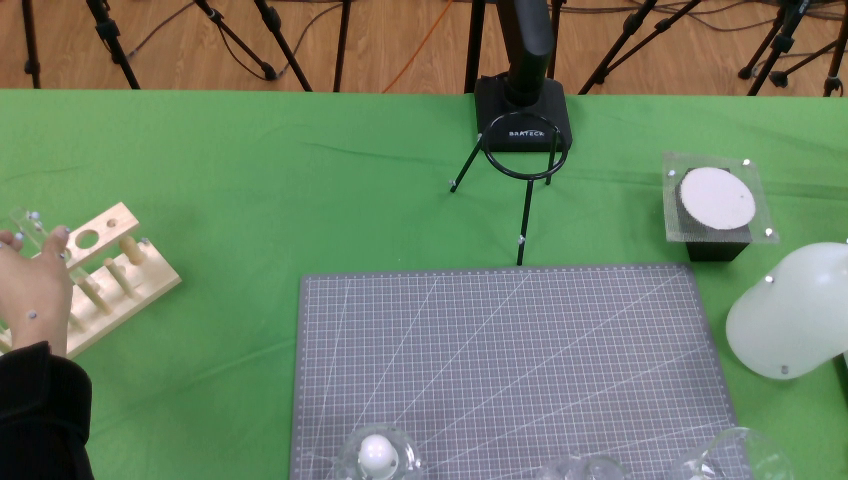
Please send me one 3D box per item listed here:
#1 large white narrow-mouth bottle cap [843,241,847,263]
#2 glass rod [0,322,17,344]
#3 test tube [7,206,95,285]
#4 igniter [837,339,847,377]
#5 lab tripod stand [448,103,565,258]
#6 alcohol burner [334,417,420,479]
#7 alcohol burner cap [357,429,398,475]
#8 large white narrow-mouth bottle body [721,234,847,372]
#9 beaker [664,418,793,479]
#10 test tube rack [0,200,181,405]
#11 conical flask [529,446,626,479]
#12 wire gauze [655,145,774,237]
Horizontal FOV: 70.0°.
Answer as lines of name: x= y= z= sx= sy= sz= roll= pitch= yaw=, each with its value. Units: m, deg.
large white narrow-mouth bottle cap: x=0.380 y=0.009 z=0.515 sx=0.038 sy=0.024 sz=0.037 roll=1 pitch=60 yaw=-2
glass rod: x=-0.408 y=0.045 z=0.540 sx=0.008 sy=0.201 sz=0.008 roll=3 pitch=52 yaw=-4
test tube: x=-0.352 y=0.012 z=0.580 sx=0.017 sy=0.151 sz=0.017 roll=2 pitch=62 yaw=-3
igniter: x=0.460 y=0.195 z=0.610 sx=0.057 sy=0.025 sz=0.274 roll=8 pitch=60 yaw=-10
lab tripod stand: x=0.101 y=-0.073 z=0.680 sx=0.148 sy=0.132 sz=0.147 roll=2 pitch=61 yaw=-3
alcohol burner: x=-0.041 y=0.191 z=0.533 sx=0.078 sy=0.120 sz=0.077 roll=2 pitch=59 yaw=-4
alcohol burner cap: x=-0.040 y=0.174 z=0.501 sx=0.034 sy=0.048 sz=0.033 roll=-1 pitch=60 yaw=3
large white narrow-mouth bottle body: x=0.377 y=0.053 z=0.589 sx=0.102 sy=0.196 sz=0.101 roll=1 pitch=60 yaw=-2
beaker: x=0.265 y=0.210 z=0.546 sx=0.084 sy=0.101 sz=0.073 roll=3 pitch=60 yaw=0
test tube rack: x=-0.377 y=0.071 z=0.602 sx=0.242 sy=0.086 sz=0.066 roll=-39 pitch=69 yaw=-22
conical flask: x=0.137 y=0.211 z=0.526 sx=0.075 sy=0.123 sz=0.074 roll=1 pitch=60 yaw=-1
wire gauze: x=0.330 y=-0.056 z=0.698 sx=0.121 sy=0.011 sz=0.124 roll=5 pitch=60 yaw=0
